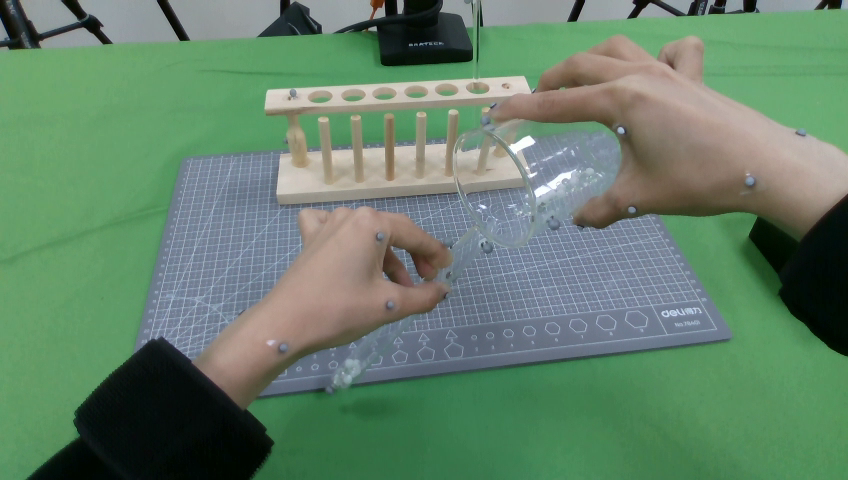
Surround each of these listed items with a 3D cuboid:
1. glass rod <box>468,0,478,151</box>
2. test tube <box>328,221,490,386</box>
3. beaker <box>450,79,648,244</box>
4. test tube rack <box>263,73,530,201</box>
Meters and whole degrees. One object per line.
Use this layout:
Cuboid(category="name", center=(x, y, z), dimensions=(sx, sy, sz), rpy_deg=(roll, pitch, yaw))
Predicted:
Cuboid(category="glass rod", center=(0.045, -0.171, 0.557), dimensions=(0.008, 0.201, 0.008), rpy_deg=(-1, 38, 1))
Cuboid(category="test tube", center=(-0.013, 0.045, 0.398), dimensions=(0.150, 0.017, 0.017), rpy_deg=(-47, 48, 14))
Cuboid(category="beaker", center=(0.077, -0.049, 0.367), dimensions=(0.100, 0.084, 0.073), rpy_deg=(-26, 63, -24))
Cuboid(category="test tube rack", center=(-0.023, -0.098, 0.576), dimensions=(0.243, 0.086, 0.066), rpy_deg=(-4, 45, -5))
